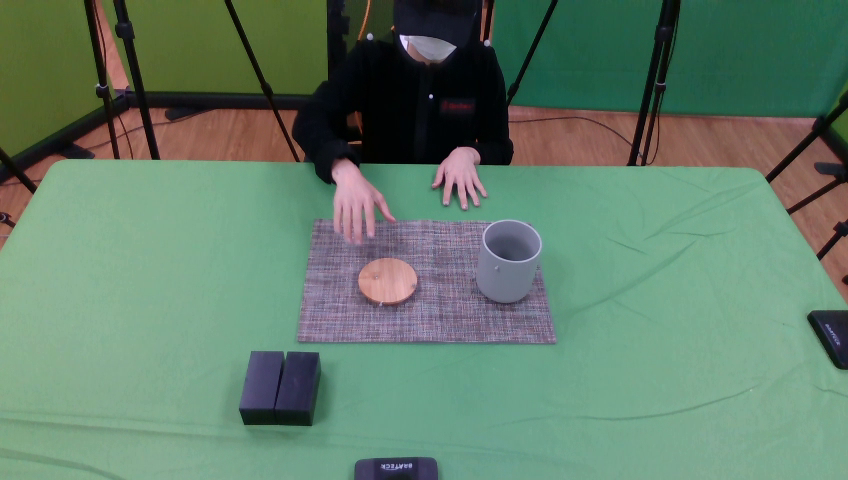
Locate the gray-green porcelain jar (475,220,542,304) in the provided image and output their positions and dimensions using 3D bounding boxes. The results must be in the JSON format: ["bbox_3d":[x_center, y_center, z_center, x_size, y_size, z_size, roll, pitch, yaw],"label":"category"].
[{"bbox_3d":[0.148,0.044,1.090,0.106,0.127,0.105,2,46,-2],"label":"gray-green porcelain jar"}]

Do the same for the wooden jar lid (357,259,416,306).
[{"bbox_3d":[-0.069,0.079,1.113,0.108,0.021,0.107,3,46,-3],"label":"wooden jar lid"}]
